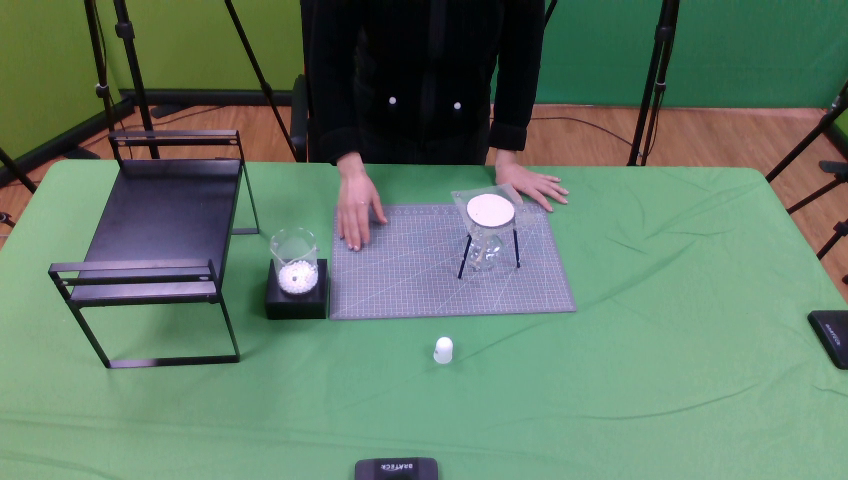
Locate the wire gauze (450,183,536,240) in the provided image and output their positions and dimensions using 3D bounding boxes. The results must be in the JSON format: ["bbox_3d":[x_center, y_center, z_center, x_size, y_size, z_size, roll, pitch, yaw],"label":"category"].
[{"bbox_3d":[0.122,-0.057,1.087,0.121,0.011,0.124,-12,47,-14],"label":"wire gauze"}]

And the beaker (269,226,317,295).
[{"bbox_3d":[-0.218,0.040,1.020,0.074,0.101,0.083,6,47,2],"label":"beaker"}]

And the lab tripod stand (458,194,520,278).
[{"bbox_3d":[0.115,-0.011,1.135,0.148,0.132,0.147,1,45,-1],"label":"lab tripod stand"}]

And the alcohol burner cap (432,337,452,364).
[{"bbox_3d":[0.031,0.182,1.011,0.034,0.048,0.033,4,45,-4],"label":"alcohol burner cap"}]

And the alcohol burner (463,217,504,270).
[{"bbox_3d":[0.114,0.000,1.139,0.078,0.119,0.077,3,47,-3],"label":"alcohol burner"}]
